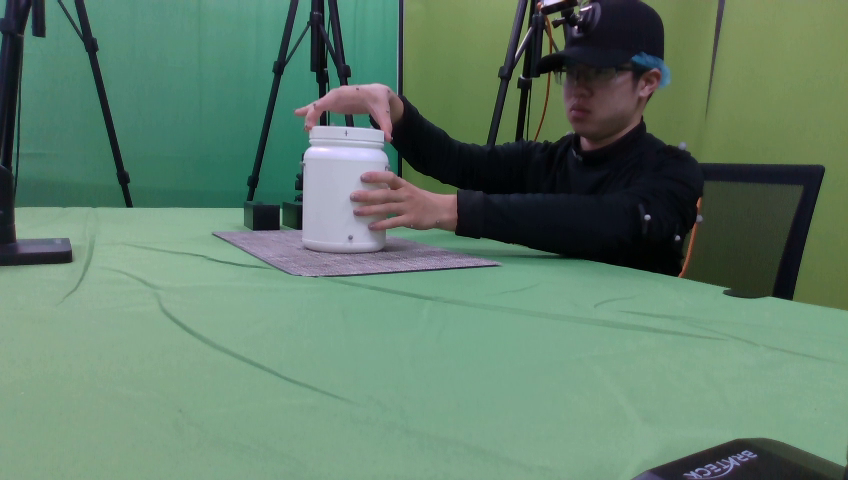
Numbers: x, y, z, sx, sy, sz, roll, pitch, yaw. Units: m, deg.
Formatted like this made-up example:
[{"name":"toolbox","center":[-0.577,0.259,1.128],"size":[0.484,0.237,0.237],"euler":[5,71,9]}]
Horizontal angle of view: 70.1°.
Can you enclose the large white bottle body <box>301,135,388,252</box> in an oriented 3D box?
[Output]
[{"name":"large white bottle body","center":[-0.122,-0.080,0.937],"size":[0.131,0.184,0.130],"euler":[2,7,0]}]

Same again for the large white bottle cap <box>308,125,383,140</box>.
[{"name":"large white bottle cap","center":[-0.119,-0.163,0.927],"size":[0.115,0.018,0.115],"euler":[2,7,0]}]
